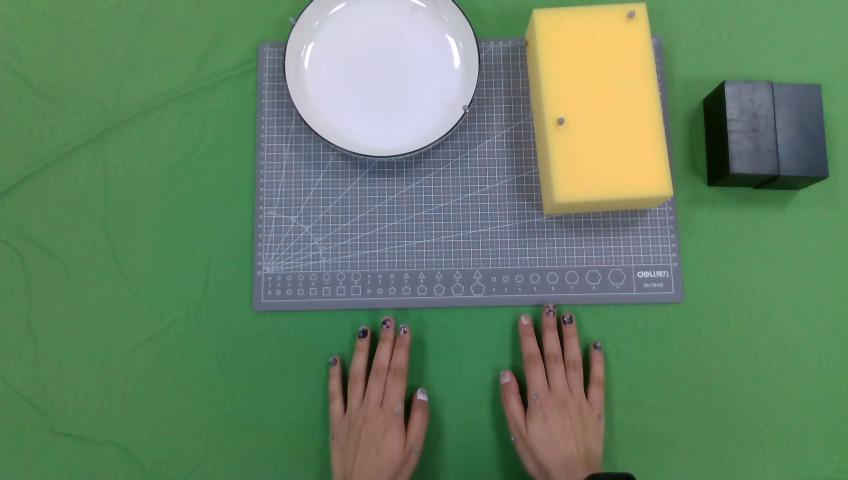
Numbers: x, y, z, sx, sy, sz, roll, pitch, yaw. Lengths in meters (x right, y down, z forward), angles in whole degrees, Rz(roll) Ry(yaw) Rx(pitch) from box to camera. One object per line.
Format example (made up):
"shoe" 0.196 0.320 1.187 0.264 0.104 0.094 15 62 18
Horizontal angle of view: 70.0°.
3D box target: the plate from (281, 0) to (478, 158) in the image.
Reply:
"plate" -0.046 -0.185 0.654 0.209 0.038 0.208 0 81 0

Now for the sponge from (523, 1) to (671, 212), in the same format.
"sponge" 0.176 -0.138 0.635 0.118 0.061 0.206 -5 81 -1
